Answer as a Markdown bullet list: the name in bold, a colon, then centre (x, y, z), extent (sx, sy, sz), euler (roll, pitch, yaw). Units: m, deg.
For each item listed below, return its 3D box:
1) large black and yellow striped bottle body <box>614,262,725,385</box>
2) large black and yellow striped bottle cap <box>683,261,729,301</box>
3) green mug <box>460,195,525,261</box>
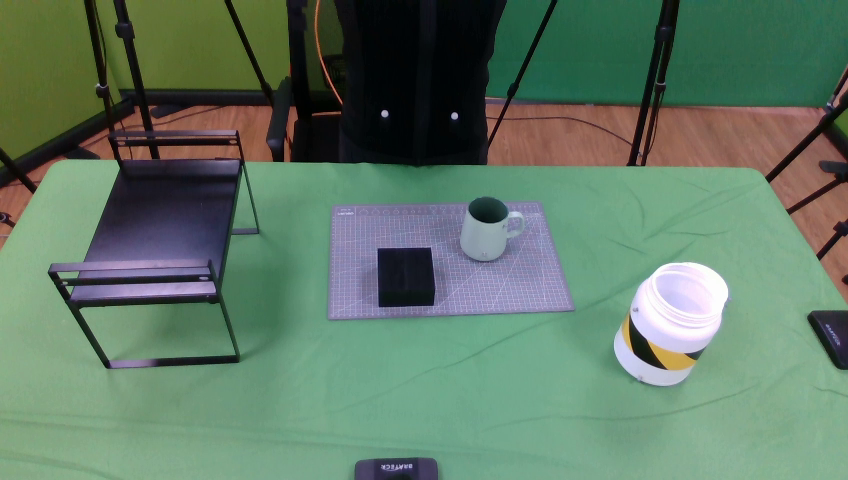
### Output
- **large black and yellow striped bottle body**: centre (0.396, 0.135, 0.982), extent (0.131, 0.185, 0.130), euler (2, 46, -2)
- **large black and yellow striped bottle cap**: centre (0.518, 0.087, 1.153), extent (0.115, 0.019, 0.114), euler (2, 47, -2)
- **green mug**: centre (0.135, -0.024, 1.168), extent (0.125, 0.105, 0.092), euler (-8, 47, -11)
